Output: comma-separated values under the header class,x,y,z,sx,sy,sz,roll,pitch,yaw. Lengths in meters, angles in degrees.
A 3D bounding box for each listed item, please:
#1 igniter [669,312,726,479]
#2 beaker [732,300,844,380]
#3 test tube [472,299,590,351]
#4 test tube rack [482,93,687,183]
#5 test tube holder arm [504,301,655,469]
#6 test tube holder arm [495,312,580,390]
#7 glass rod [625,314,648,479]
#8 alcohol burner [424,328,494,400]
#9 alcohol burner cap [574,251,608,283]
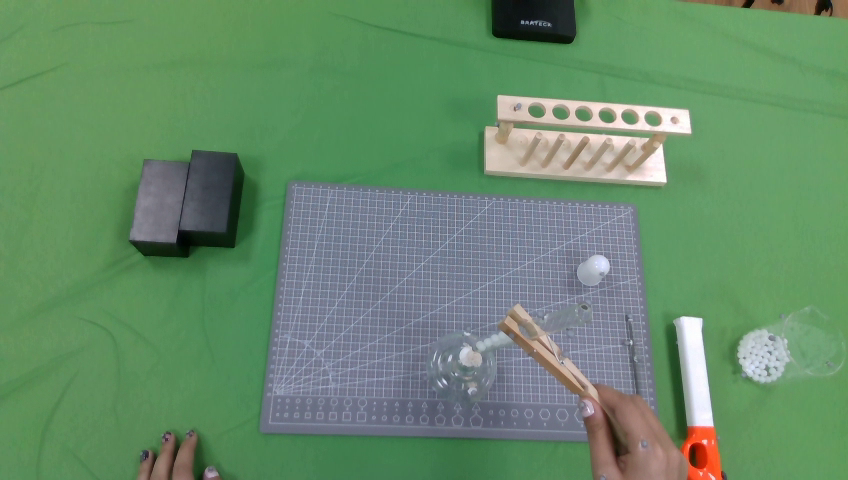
class,x,y,z,sx,sy,sz,roll,pitch,yaw
igniter,0.314,0.219,0.695,0.057,0.025,0.274,7,70,-15
beaker,0.417,0.120,0.705,0.074,0.101,0.083,16,69,-1
test tube,0.082,0.073,0.502,0.017,0.150,0.017,10,67,-25
test tube rack,0.201,-0.128,0.774,0.243,0.085,0.066,3,70,-6
test tube holder arm,0.130,0.121,0.505,0.178,0.015,0.013,48,59,-1
test tube holder arm,0.095,0.093,0.501,0.088,0.015,0.010,41,58,-5
glass rod,0.248,0.184,0.707,0.008,0.008,0.198,3,70,-6
alcohol burner,0.040,0.129,0.646,0.078,0.120,0.077,2,68,-5
alcohol burner cap,0.206,0.030,0.739,0.034,0.048,0.033,2,70,-6
